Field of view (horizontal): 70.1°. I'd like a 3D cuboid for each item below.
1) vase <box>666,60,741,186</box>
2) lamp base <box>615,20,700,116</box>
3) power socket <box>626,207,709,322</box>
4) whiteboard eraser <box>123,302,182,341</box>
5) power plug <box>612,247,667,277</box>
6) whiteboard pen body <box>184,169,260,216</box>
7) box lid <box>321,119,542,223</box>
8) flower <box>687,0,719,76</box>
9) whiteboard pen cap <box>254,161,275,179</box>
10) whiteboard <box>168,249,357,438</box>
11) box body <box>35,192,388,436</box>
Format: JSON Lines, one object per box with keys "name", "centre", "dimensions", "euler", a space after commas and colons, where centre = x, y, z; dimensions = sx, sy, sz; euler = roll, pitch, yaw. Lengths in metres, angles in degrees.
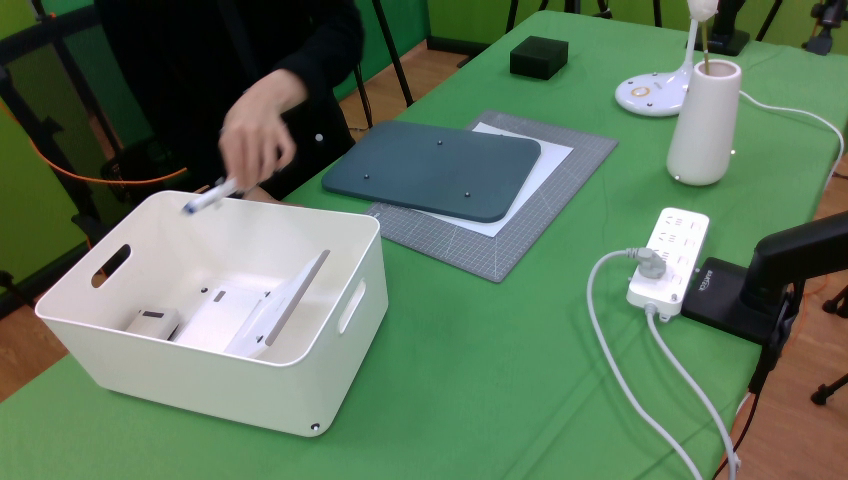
{"name": "vase", "centre": [0.463, -0.189, 0.994], "dimensions": [0.098, 0.201, 0.097], "euler": [-3, 40, 3]}
{"name": "lamp base", "centre": [0.484, -0.364, 1.211], "dimensions": [0.180, 0.181, 0.159], "euler": [-15, 41, -14]}
{"name": "power socket", "centre": [0.360, 0.026, 0.886], "dimensions": [0.072, 0.033, 0.227], "euler": [17, 46, 27]}
{"name": "whiteboard eraser", "centre": [-0.385, 0.139, 0.828], "dimensions": [0.055, 0.042, 0.112], "euler": [10, 41, 8]}
{"name": "power plug", "centre": [0.306, 0.031, 0.852], "dimensions": [0.072, 0.053, 0.035], "euler": [21, 48, 37]}
{"name": "whiteboard pen body", "centre": [-0.245, -0.066, 0.766], "dimensions": [0.017, 0.017, 0.141], "euler": [16, 36, 25]}
{"name": "box lid", "centre": [0.017, -0.141, 1.145], "dimensions": [0.369, 0.015, 0.263], "euler": [12, 44, 22]}
{"name": "flower", "centre": [0.436, -0.242, 0.934], "dimensions": [0.038, 0.364, 0.043], "euler": [-24, 49, 9]}
{"name": "whiteboard pen cap", "centre": [-0.217, -0.093, 0.811], "dimensions": [0.018, 0.018, 0.033], "euler": [17, 36, 26]}
{"name": "whiteboard", "centre": [-0.242, 0.100, 0.799], "dimensions": [0.304, 0.144, 0.217], "euler": [8, 43, 15]}
{"name": "box body", "centre": [-0.251, 0.088, 0.800], "dimensions": [0.362, 0.161, 0.254], "euler": [7, 42, 16]}
